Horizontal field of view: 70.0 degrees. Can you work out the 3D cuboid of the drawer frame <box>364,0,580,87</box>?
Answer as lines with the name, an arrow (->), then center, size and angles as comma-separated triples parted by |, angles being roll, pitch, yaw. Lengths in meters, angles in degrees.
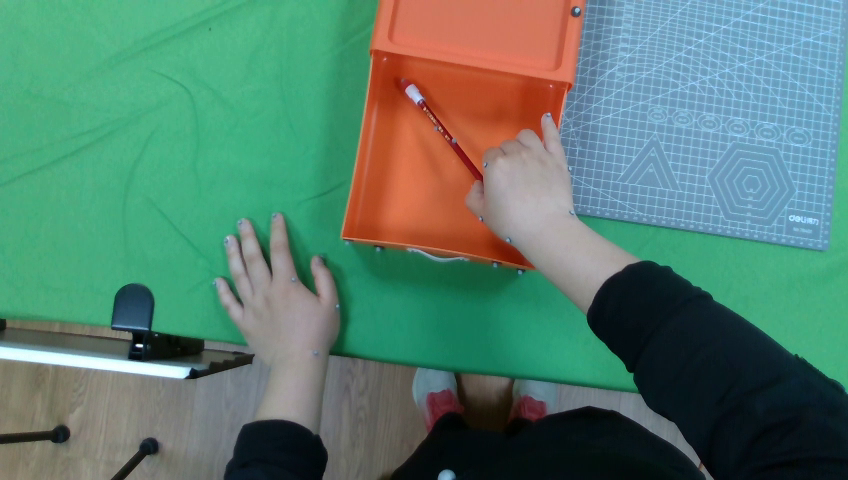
drawer frame -> 0.057, -0.265, 0.620 | 0.202, 0.083, 0.213 | 8, 84, 0

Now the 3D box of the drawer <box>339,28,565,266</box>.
drawer -> 0.029, -0.087, 0.609 | 0.194, 0.073, 0.211 | 9, 88, 0

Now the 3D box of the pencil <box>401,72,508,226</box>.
pencil -> 0.030, -0.093, 0.613 | 0.012, 0.012, 0.193 | -33, 79, -3
